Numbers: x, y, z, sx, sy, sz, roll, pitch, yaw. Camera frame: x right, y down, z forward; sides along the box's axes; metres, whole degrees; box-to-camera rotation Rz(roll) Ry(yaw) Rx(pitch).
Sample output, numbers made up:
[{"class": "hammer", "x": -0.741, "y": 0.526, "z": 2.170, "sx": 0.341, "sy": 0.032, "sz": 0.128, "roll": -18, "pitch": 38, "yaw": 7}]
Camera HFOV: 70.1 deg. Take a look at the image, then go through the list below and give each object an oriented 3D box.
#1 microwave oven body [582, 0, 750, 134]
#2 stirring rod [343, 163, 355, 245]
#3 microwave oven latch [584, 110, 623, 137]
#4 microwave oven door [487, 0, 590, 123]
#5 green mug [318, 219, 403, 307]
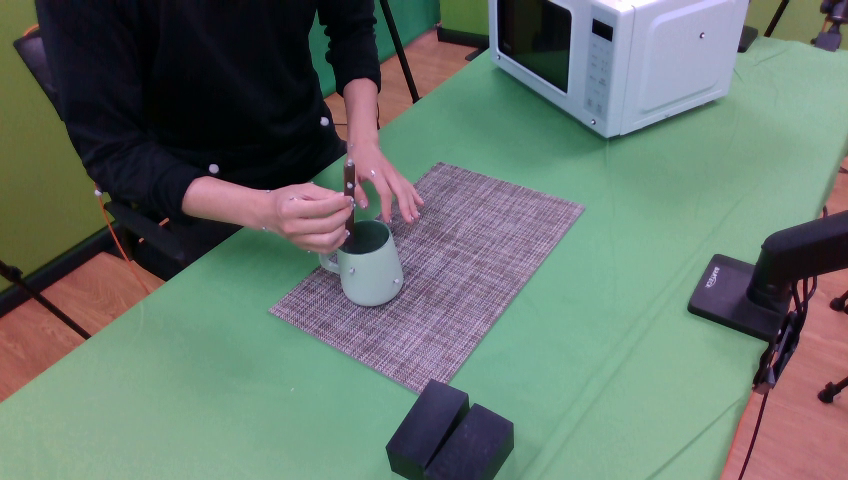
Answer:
[{"class": "microwave oven body", "x": 0.382, "y": -0.445, "z": 1.246, "sx": 0.327, "sy": 0.261, "sz": 0.437, "roll": -22, "pitch": 42, "yaw": -16}, {"class": "stirring rod", "x": -0.096, "y": -0.042, "z": 0.775, "sx": 0.014, "sy": 0.176, "sz": 0.006, "roll": -26, "pitch": 65, "yaw": -21}, {"class": "microwave oven latch", "x": 0.337, "y": -0.222, "z": 1.142, "sx": 0.030, "sy": 0.029, "sz": 0.078, "roll": -21, "pitch": 42, "yaw": -14}, {"class": "microwave oven door", "x": 0.232, "y": -0.420, "z": 1.230, "sx": 0.039, "sy": 0.245, "sz": 0.352, "roll": -22, "pitch": 43, "yaw": -16}, {"class": "green mug", "x": -0.095, "y": 0.032, "z": 0.876, "sx": 0.125, "sy": 0.105, "sz": 0.092, "roll": 8, "pitch": 43, "yaw": 17}]
